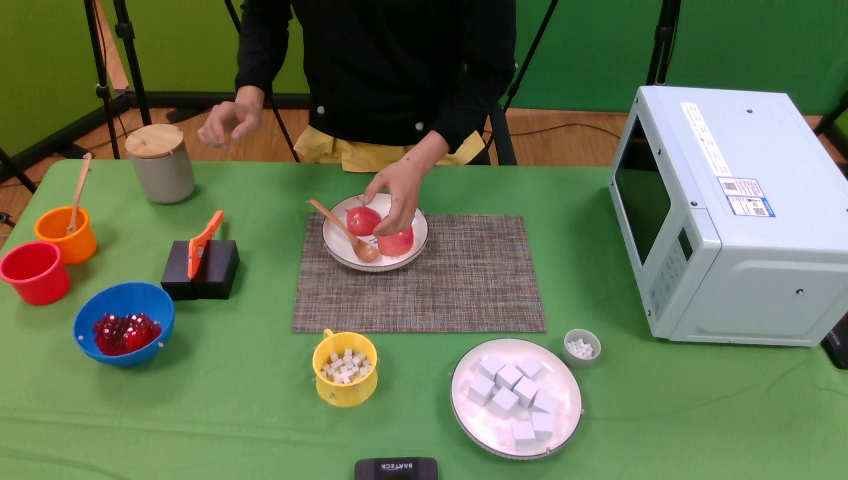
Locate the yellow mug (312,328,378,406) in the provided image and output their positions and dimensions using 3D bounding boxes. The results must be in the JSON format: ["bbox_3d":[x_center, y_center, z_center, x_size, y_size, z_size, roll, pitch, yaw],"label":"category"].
[{"bbox_3d":[-0.132,0.193,0.971,0.100,0.064,0.130,-22,51,-22],"label":"yellow mug"}]

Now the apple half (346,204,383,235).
[{"bbox_3d":[-0.119,-0.049,1.207,0.081,0.033,0.081,2,50,-3],"label":"apple half"}]

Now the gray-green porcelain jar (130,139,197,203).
[{"bbox_3d":[-0.522,-0.148,1.225,0.106,0.127,0.105,2,47,-2],"label":"gray-green porcelain jar"}]

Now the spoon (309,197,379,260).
[{"bbox_3d":[-0.158,-0.025,1.172,0.041,0.022,0.193,-37,71,-26],"label":"spoon"}]

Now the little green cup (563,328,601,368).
[{"bbox_3d":[0.265,0.184,1.025,0.061,0.039,0.061,1,46,-1],"label":"little green cup"}]

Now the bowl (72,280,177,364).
[{"bbox_3d":[-0.473,0.147,0.982,0.151,0.077,0.150,2,46,-2],"label":"bowl"}]

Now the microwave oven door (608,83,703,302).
[{"bbox_3d":[0.424,-0.096,1.138,0.039,0.245,0.353,2,47,-1],"label":"microwave oven door"}]

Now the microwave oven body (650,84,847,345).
[{"bbox_3d":[0.569,-0.054,1.116,0.326,0.261,0.439,2,46,-1],"label":"microwave oven body"}]

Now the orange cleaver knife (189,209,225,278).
[{"bbox_3d":[-0.401,0.002,1.122,0.012,0.077,0.210,4,23,-4],"label":"orange cleaver knife"}]

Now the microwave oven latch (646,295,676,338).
[{"bbox_3d":[0.413,0.133,1.061,0.030,0.029,0.078,4,46,1],"label":"microwave oven latch"}]

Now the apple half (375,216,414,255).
[{"bbox_3d":[-0.056,-0.017,1.168,0.075,0.053,0.080,0,46,-7],"label":"apple half"}]

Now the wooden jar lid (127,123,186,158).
[{"bbox_3d":[-0.519,-0.190,1.179,0.108,0.021,0.107,2,44,-2],"label":"wooden jar lid"}]

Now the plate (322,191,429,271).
[{"bbox_3d":[-0.094,-0.015,1.185,0.209,0.038,0.208,2,46,-2],"label":"plate"}]

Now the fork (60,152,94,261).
[{"bbox_3d":[-0.638,-0.063,1.119,0.028,0.018,0.207,12,90,10],"label":"fork"}]

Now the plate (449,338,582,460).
[{"bbox_3d":[0.141,0.251,0.956,0.208,0.039,0.206,2,46,-2],"label":"plate"}]
